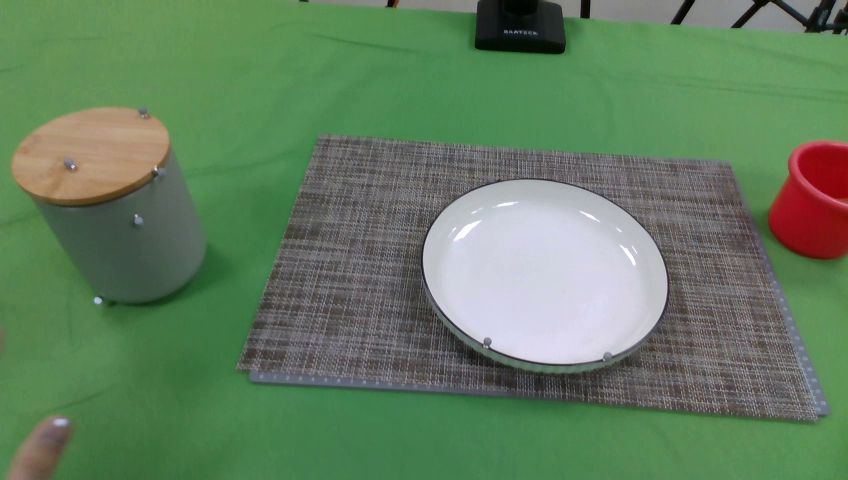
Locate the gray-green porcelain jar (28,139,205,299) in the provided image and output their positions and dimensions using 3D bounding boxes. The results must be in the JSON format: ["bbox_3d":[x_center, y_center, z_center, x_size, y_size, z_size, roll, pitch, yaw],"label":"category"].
[{"bbox_3d":[-0.245,-0.021,0.499,0.106,0.127,0.105,1,48,-1],"label":"gray-green porcelain jar"}]

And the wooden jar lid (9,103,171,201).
[{"bbox_3d":[-0.244,-0.064,0.451,0.108,0.021,0.107,4,47,-3],"label":"wooden jar lid"}]

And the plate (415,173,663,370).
[{"bbox_3d":[0.096,0.025,0.524,0.208,0.039,0.205,1,49,-1],"label":"plate"}]

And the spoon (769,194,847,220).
[{"bbox_3d":[0.402,-0.039,0.524,0.041,0.022,0.193,-41,17,-31],"label":"spoon"}]
